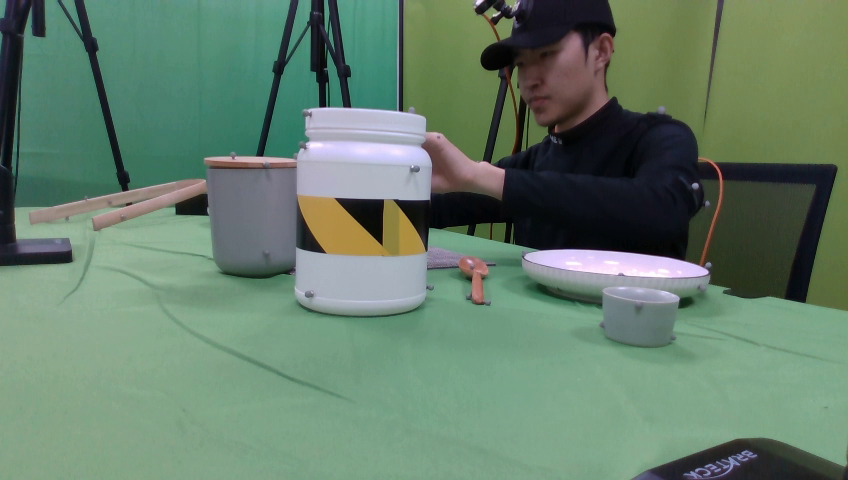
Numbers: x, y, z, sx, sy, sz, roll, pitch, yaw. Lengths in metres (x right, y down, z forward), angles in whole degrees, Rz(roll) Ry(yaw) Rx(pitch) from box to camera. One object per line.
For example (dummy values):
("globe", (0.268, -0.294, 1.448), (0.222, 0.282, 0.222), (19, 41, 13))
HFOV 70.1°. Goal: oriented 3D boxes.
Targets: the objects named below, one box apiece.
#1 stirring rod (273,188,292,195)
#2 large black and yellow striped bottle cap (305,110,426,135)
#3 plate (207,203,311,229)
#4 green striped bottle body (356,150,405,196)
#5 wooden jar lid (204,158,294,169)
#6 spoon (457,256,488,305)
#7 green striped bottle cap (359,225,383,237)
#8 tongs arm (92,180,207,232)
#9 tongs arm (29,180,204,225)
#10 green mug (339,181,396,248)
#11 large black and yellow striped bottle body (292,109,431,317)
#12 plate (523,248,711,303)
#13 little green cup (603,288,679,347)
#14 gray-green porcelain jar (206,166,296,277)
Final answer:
("stirring rod", (-0.353, -0.122, 1.518), (0.006, 0.014, 0.176), (1, 6, 1))
("large black and yellow striped bottle cap", (-0.055, -0.110, 0.574), (0.115, 0.019, 0.115), (1, 7, 0))
("plate", (-0.342, -0.050, 1.259), (0.208, 0.039, 0.207), (2, 7, 0))
("green striped bottle body", (-0.067, -0.100, 0.887), (0.063, 0.063, 0.119), (1, 9, -10))
("wooden jar lid", (-0.202, -0.086, 0.714), (0.108, 0.020, 0.108), (3, 11, 0))
("spoon", (0.058, 0.044, 0.696), (0.041, 0.021, 0.193), (21, 7, 0))
("green striped bottle cap", (-0.101, -0.016, 1.138), (0.044, 0.020, 0.044), (-3, 8, 1))
("tongs arm", (-0.534, -0.076, 1.221), (0.028, 0.028, 0.388), (-2, 15, 12))
("tongs arm", (-0.609, -0.083, 1.245), (0.050, 0.026, 0.386), (5, 16, 23))
("green mug", (-0.097, -0.045, 0.995), (0.093, 0.105, 0.125), (-1, 8, -22))
("large black and yellow striped bottle body", (-0.060, -0.028, 0.585), (0.131, 0.184, 0.130), (3, 7, 0))
("plate", (0.219, 0.041, 0.706), (0.209, 0.038, 0.209), (2, 7, 0))
("little green cup", (0.180, 0.064, 0.505), (0.061, 0.038, 0.061), (2, 6, 0))
("gray-green porcelain jar", (-0.201, -0.024, 0.724), (0.106, 0.126, 0.106), (-1, 9, 1))
